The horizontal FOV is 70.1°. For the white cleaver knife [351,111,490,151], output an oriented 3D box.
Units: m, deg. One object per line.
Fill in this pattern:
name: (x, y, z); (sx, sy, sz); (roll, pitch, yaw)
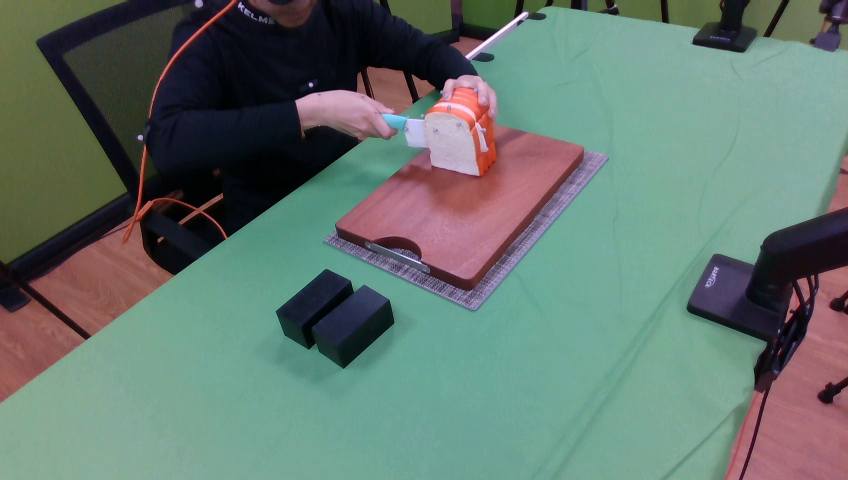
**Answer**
white cleaver knife: (-0.015, -0.192, 1.075); (0.284, 0.066, 0.021); (12, 46, 31)

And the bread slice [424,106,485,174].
bread slice: (0.048, -0.171, 1.035); (0.104, 0.132, 0.019); (13, 52, 26)

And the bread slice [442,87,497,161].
bread slice: (0.078, -0.204, 1.068); (0.106, 0.135, 0.018); (19, 47, 26)
